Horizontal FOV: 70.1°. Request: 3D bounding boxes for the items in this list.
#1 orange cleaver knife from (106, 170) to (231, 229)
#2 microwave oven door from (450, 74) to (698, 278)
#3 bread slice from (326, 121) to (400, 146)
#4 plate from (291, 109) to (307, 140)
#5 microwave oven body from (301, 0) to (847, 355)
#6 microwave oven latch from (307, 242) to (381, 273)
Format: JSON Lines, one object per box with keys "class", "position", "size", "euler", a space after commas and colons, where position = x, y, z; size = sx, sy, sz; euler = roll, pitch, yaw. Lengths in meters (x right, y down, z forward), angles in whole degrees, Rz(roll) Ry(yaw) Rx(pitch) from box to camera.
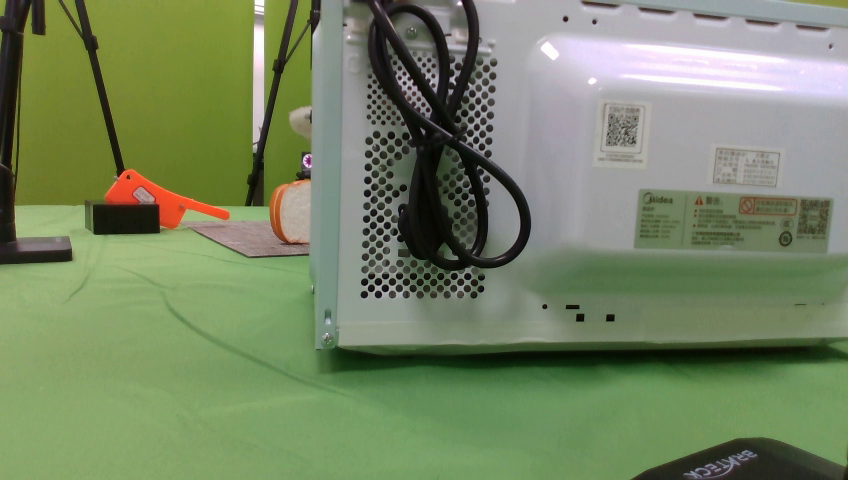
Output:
{"class": "orange cleaver knife", "position": [-0.458, -0.060, 1.097], "size": [0.212, 0.077, 0.012], "euler": [23, -5, -38]}
{"class": "microwave oven door", "position": [0.183, -0.094, 0.836], "size": [0.354, 0.243, 0.039], "euler": [10, 10, 44]}
{"class": "bread slice", "position": [-0.097, -0.181, 1.033], "size": [0.107, 0.018, 0.134], "euler": [1, 0, -25]}
{"class": "plate", "position": [-0.121, -0.180, 1.028], "size": [0.208, 0.039, 0.207], "euler": [2, -3, 0]}
{"class": "microwave oven body", "position": [0.120, -0.053, 0.535], "size": [0.443, 0.260, 0.325], "euler": [2, 7, -11]}
{"class": "microwave oven latch", "position": [-0.086, 0.019, 0.656], "size": [0.079, 0.029, 0.030], "euler": [2, 7, -10]}
